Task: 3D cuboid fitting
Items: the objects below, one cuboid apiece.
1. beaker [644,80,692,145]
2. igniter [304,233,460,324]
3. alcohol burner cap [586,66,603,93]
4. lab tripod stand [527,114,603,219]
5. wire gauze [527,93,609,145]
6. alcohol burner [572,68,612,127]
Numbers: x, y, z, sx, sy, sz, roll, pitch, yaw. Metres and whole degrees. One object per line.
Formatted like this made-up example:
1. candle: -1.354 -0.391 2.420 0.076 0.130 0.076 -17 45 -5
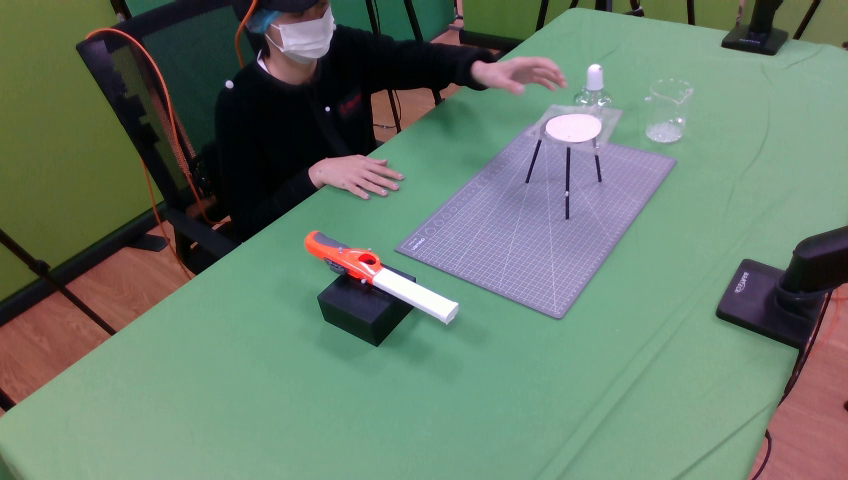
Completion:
1. beaker: 0.451 -0.233 1.122 0.074 0.101 0.083 -8 40 1
2. igniter: -0.070 0.048 0.853 0.274 0.025 0.057 24 47 29
3. alcohol burner cap: 0.330 -0.312 1.170 0.034 0.048 0.033 -8 38 7
4. lab tripod stand: 0.234 -0.129 1.002 0.148 0.132 0.147 -6 40 6
5. wire gauze: 0.225 -0.188 0.943 0.121 0.011 0.124 6 48 9
6. alcohol burner: 0.333 -0.285 1.192 0.078 0.119 0.077 -4 42 4
